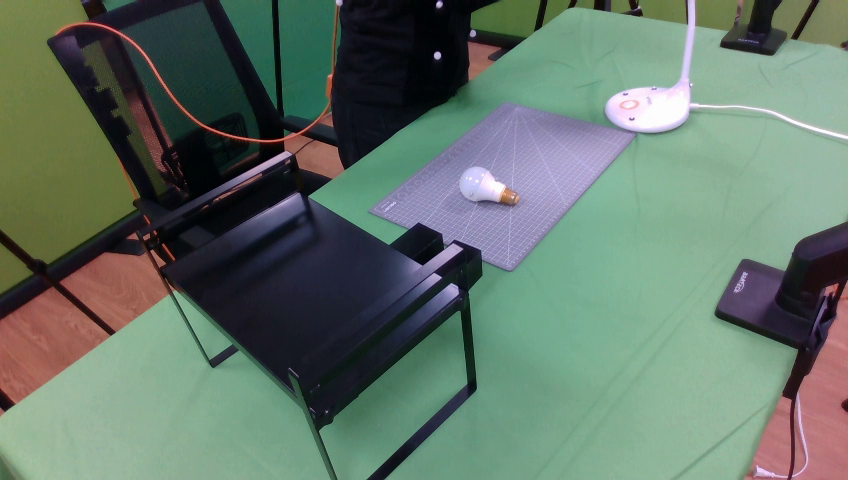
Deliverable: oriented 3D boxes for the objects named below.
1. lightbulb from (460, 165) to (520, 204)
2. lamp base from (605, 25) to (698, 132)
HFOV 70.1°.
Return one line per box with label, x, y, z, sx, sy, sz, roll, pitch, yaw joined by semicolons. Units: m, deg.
lightbulb;0.113;-0.089;1.037;0.107;0.059;0.059;22;47;10
lamp base;0.449;-0.321;1.161;0.179;0.181;0.159;-6;41;-2
